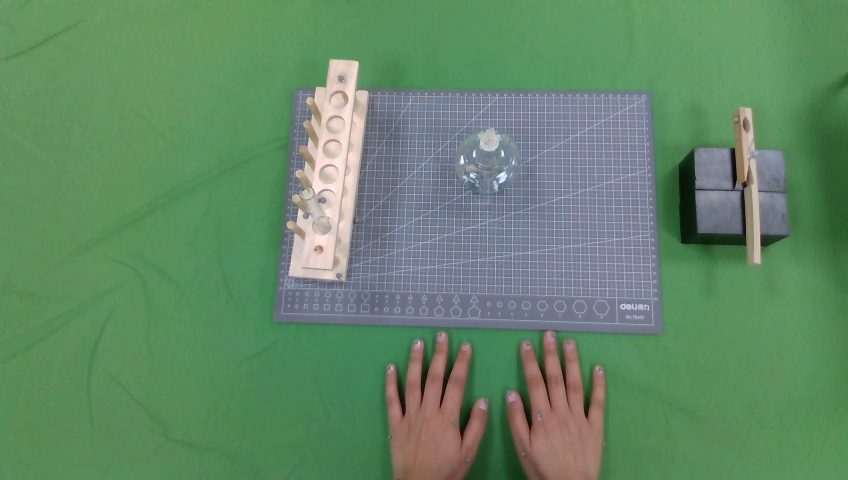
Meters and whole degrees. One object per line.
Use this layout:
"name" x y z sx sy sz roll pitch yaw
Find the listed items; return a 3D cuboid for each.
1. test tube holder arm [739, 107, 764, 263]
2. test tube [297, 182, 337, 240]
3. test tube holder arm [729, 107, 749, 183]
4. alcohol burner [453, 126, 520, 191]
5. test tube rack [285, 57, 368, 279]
"test tube holder arm" 0.359 -0.063 0.669 0.013 0.015 0.177 0 78 -2
"test tube" -0.111 -0.025 0.641 0.017 0.151 0.017 0 72 1
"test tube holder arm" 0.353 -0.107 0.678 0.010 0.015 0.087 1 78 -2
"alcohol burner" 0.071 -0.098 0.686 0.078 0.119 0.077 -1 79 4
"test tube rack" -0.118 -0.083 0.704 0.067 0.085 0.241 5 78 4
